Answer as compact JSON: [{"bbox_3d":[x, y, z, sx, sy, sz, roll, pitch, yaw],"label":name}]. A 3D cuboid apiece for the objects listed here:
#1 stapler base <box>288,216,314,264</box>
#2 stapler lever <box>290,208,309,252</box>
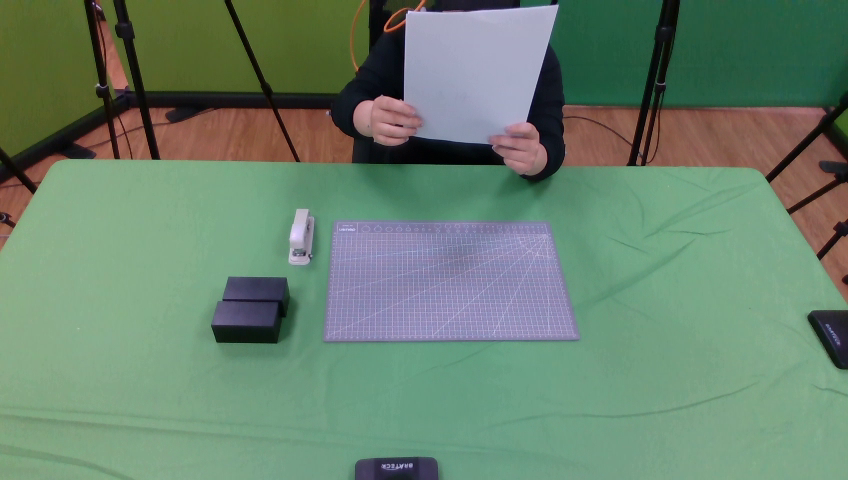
[{"bbox_3d":[-0.240,-0.007,1.185,0.041,0.024,0.129,1,44,-6],"label":"stapler base"},{"bbox_3d":[-0.240,-0.026,1.168,0.027,0.040,0.117,1,44,-5],"label":"stapler lever"}]
